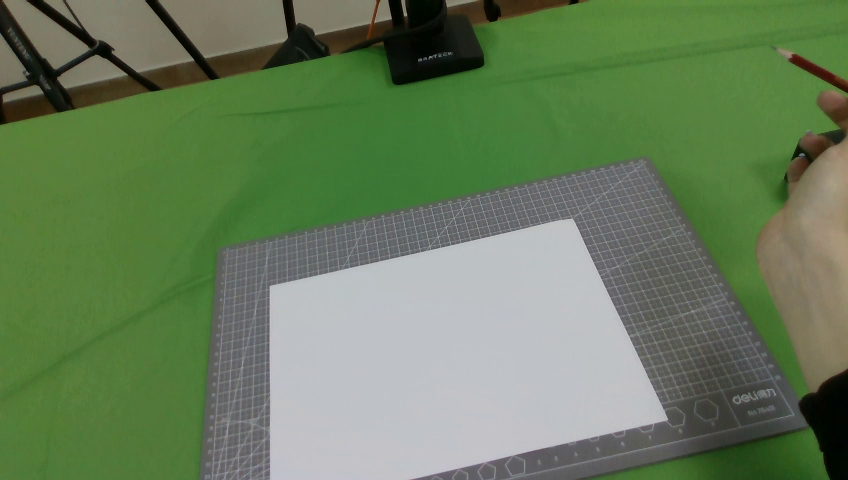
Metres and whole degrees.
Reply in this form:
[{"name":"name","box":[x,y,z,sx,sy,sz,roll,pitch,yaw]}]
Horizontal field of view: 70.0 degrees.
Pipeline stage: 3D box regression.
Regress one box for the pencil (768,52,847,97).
[{"name":"pencil","box":[0.318,-0.084,0.406,0.012,0.012,0.192,-33,56,-17]}]
